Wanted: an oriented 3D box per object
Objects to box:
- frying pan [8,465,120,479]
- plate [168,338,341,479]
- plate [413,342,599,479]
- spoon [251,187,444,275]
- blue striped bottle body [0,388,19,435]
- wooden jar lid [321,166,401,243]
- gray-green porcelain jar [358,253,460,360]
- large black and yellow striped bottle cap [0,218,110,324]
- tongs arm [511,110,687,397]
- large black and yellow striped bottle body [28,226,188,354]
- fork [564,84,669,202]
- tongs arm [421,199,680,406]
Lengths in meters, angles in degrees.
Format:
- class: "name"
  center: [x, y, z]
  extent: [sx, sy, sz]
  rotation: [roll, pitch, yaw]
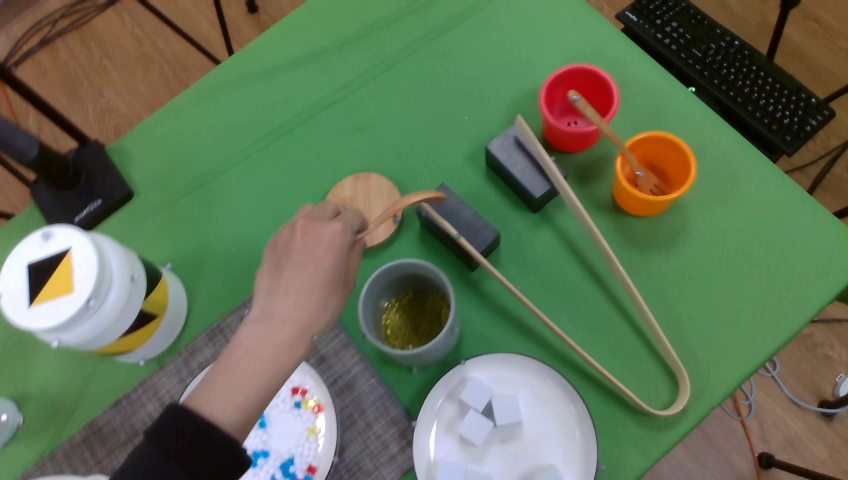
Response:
- class: "frying pan"
  center: [-0.312, 0.430, 0.638]
  extent: [0.485, 0.103, 0.305]
  rotation: [17, 76, 20]
- class: "plate"
  center: [-0.200, 0.223, 0.725]
  extent: [0.209, 0.038, 0.208]
  rotation: [-2, 73, 6]
- class: "plate"
  center: [0.093, 0.223, 0.696]
  extent: [0.207, 0.039, 0.206]
  rotation: [-2, 72, 6]
- class: "spoon"
  center: [-0.066, -0.009, 0.557]
  extent: [0.194, 0.041, 0.022]
  rotation: [-29, 96, -19]
- class: "blue striped bottle body"
  center: [-0.563, 0.206, 0.732]
  extent: [0.063, 0.121, 0.062]
  rotation: [-2, 72, 6]
- class: "wooden jar lid"
  center: [-0.083, -0.046, 0.810]
  extent: [0.108, 0.021, 0.108]
  rotation: [-2, 74, 6]
- class: "gray-green porcelain jar"
  center: [-0.012, 0.082, 0.705]
  extent: [0.106, 0.127, 0.105]
  rotation: [-2, 72, 6]
- class: "large black and yellow striped bottle cap"
  center: [-0.395, 0.032, 0.646]
  extent: [0.115, 0.019, 0.114]
  rotation: [-1, 74, 5]
- class: "tongs arm"
  center: [0.205, 0.008, 0.723]
  extent: [0.028, 0.028, 0.386]
  rotation: [-29, 82, -11]
- class: "large black and yellow striped bottle body"
  center: [-0.385, 0.060, 0.725]
  extent: [0.130, 0.185, 0.130]
  rotation: [-2, 71, 6]
- class: "fork"
  center: [0.233, -0.114, 0.726]
  extent: [0.209, 0.018, 0.028]
  rotation: [40, 88, -28]
- class: "tongs arm"
  center: [0.139, 0.060, 0.713]
  extent: [0.051, 0.026, 0.383]
  rotation: [-43, 83, -9]
